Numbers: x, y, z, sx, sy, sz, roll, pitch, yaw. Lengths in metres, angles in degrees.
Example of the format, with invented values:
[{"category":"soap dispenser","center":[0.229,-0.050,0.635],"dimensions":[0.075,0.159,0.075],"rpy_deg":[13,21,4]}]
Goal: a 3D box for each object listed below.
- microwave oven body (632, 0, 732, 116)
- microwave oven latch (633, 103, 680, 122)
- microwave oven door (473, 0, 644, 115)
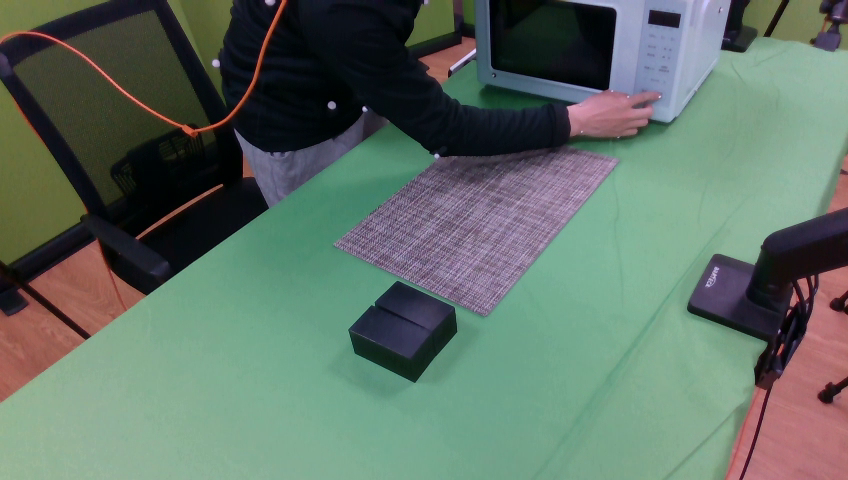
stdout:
[{"category":"microwave oven body","center":[0.377,-0.463,1.267],"dimensions":[0.438,0.261,0.327],"rpy_deg":[21,49,30]},{"category":"microwave oven latch","center":[0.443,-0.249,1.157],"dimensions":[0.078,0.029,0.030],"rpy_deg":[21,49,30]},{"category":"microwave oven door","center":[0.257,-0.396,1.199],"dimensions":[0.353,0.245,0.039],"rpy_deg":[21,48,29]}]
